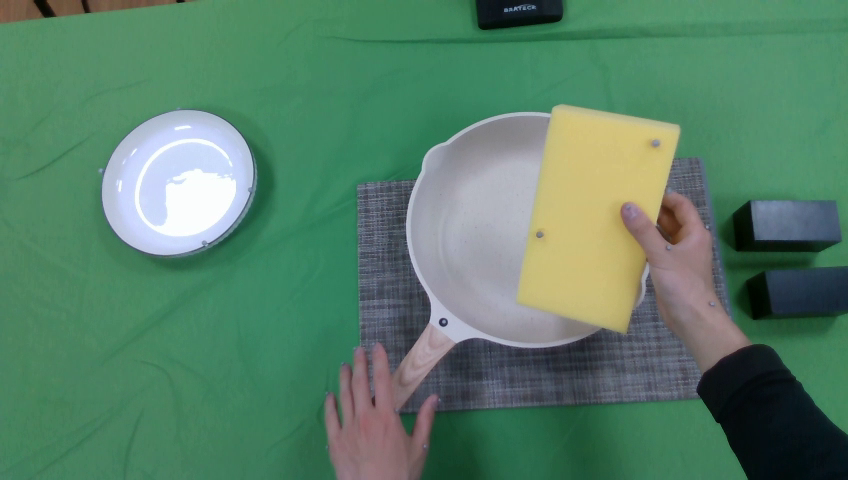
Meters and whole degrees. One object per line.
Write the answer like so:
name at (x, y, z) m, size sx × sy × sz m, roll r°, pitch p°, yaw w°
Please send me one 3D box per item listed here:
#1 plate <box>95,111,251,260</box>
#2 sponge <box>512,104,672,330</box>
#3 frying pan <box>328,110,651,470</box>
plate at (-0.330, -0.070, 0.811) m, size 0.207 × 0.039 × 0.206 m, roll -1°, pitch 74°, yaw 3°
sponge at (0.168, -0.025, 0.619) m, size 0.118 × 0.061 × 0.208 m, roll 12°, pitch 110°, yaw 16°
frying pan at (0.055, 0.060, 0.710) m, size 0.305 × 0.103 × 0.487 m, roll 37°, pitch 72°, yaw 14°
